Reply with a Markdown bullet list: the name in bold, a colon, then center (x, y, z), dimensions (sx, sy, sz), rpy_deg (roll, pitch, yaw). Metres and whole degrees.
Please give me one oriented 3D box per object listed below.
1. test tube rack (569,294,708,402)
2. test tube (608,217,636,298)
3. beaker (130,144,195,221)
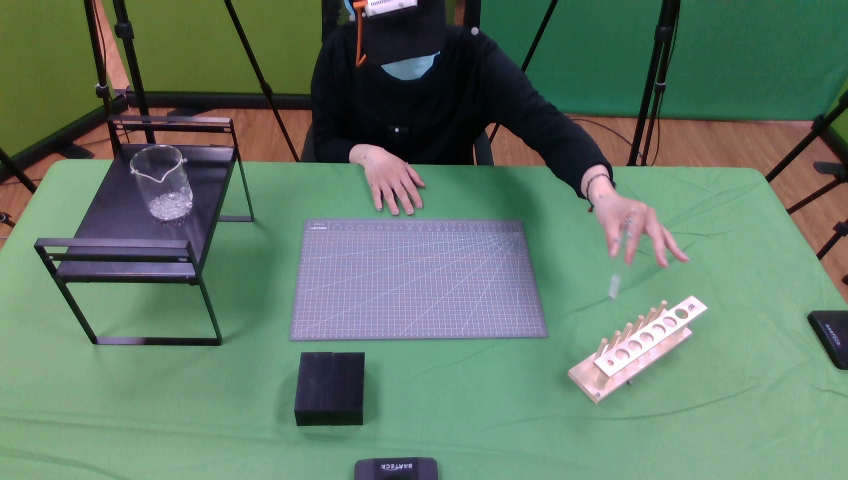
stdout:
- **test tube rack**: center (0.360, 0.167, 1.014), dimensions (0.242, 0.085, 0.066), rpy_deg (-25, 53, -25)
- **test tube**: center (0.302, 0.030, 0.930), dimensions (0.017, 0.151, 0.017), rpy_deg (0, 37, 0)
- **beaker**: center (-0.402, -0.085, 0.943), dimensions (0.074, 0.101, 0.083), rpy_deg (-15, 49, -17)
